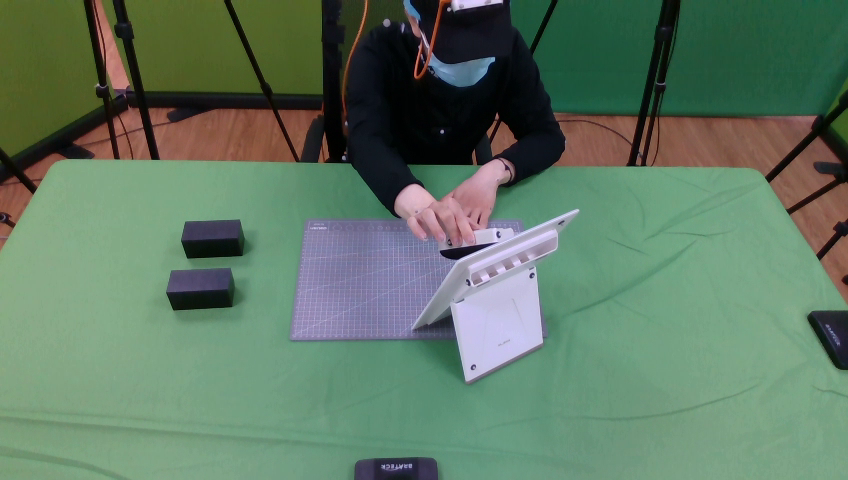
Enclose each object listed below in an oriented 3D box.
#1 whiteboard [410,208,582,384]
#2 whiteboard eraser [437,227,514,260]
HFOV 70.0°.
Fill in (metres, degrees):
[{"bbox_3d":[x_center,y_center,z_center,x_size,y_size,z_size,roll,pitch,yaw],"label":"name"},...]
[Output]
[{"bbox_3d":[0.131,0.108,0.946,0.217,0.306,0.143,-21,72,-22],"label":"whiteboard"},{"bbox_3d":[0.078,0.005,0.912,0.056,0.112,0.042,2,80,-49],"label":"whiteboard eraser"}]
